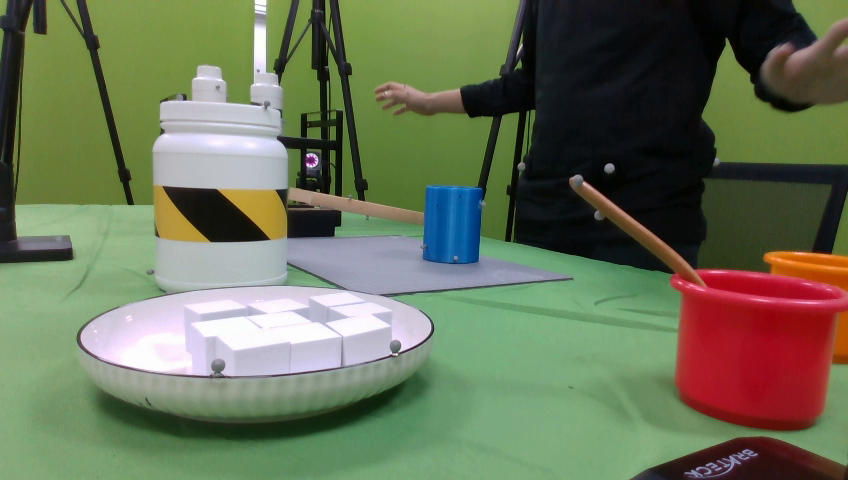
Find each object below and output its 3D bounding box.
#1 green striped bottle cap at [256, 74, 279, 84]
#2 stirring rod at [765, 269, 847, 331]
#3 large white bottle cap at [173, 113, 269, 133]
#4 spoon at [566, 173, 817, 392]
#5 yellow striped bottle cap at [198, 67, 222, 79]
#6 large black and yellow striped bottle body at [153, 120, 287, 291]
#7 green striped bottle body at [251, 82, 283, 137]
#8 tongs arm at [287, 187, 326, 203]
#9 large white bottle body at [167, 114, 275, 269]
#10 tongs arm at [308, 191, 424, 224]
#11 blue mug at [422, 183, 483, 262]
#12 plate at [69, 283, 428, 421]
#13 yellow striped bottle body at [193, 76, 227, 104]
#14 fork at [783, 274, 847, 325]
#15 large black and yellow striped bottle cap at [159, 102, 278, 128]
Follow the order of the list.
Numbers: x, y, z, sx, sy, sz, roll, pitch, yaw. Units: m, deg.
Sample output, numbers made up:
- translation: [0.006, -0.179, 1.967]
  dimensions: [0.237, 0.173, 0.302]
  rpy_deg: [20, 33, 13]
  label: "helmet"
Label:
- translation: [-0.314, -0.322, 1.214]
  dimensions: [0.044, 0.020, 0.044]
  rpy_deg: [2, 9, 0]
  label: "green striped bottle cap"
- translation: [0.352, 0.020, 0.484]
  dimensions: [0.176, 0.006, 0.014]
  rpy_deg: [-40, -6, 13]
  label: "stirring rod"
- translation: [-0.254, -0.146, 0.760]
  dimensions: [0.115, 0.018, 0.115]
  rpy_deg: [1, 7, 0]
  label: "large white bottle cap"
- translation: [0.161, 0.024, 0.370]
  dimensions: [0.193, 0.021, 0.042]
  rpy_deg: [47, 18, 3]
  label: "spoon"
- translation: [-0.411, -0.320, 1.163]
  dimensions: [0.044, 0.018, 0.044]
  rpy_deg: [1, 6, 0]
  label: "yellow striped bottle cap"
- translation: [-0.208, -0.042, 0.626]
  dimensions: [0.131, 0.184, 0.130]
  rpy_deg: [2, 7, 0]
  label: "large black and yellow striped bottle body"
- translation: [-0.317, -0.270, 1.220]
  dimensions: [0.063, 0.119, 0.063]
  rpy_deg: [2, 7, 0]
  label: "green striped bottle body"
- translation: [-0.084, -0.061, 1.243]
  dimensions: [0.389, 0.027, 0.028]
  rpy_deg: [10, -2, -19]
  label: "tongs arm"
- translation: [-0.256, -0.063, 0.771]
  dimensions: [0.131, 0.184, 0.130]
  rpy_deg: [2, 7, 0]
  label: "large white bottle body"
- translation: [-0.048, -0.051, 1.170]
  dimensions: [0.387, 0.026, 0.050]
  rpy_deg: [9, 1, -32]
  label: "tongs arm"
- translation: [0.032, -0.028, 0.877]
  dimensions: [0.083, 0.106, 0.116]
  rpy_deg: [-2, 8, -31]
  label: "blue mug"
- translation: [-0.102, 0.066, 0.381]
  dimensions: [0.208, 0.039, 0.207]
  rpy_deg: [2, 7, 0]
  label: "plate"
- translation: [-0.414, -0.268, 1.169]
  dimensions: [0.063, 0.120, 0.063]
  rpy_deg: [2, 7, 0]
  label: "yellow striped bottle body"
- translation: [0.332, 0.018, 0.443]
  dimensions: [0.028, 0.018, 0.207]
  rpy_deg: [-1, -36, -15]
  label: "fork"
- translation: [-0.207, -0.125, 0.615]
  dimensions: [0.115, 0.019, 0.115]
  rpy_deg: [2, 6, 0]
  label: "large black and yellow striped bottle cap"
